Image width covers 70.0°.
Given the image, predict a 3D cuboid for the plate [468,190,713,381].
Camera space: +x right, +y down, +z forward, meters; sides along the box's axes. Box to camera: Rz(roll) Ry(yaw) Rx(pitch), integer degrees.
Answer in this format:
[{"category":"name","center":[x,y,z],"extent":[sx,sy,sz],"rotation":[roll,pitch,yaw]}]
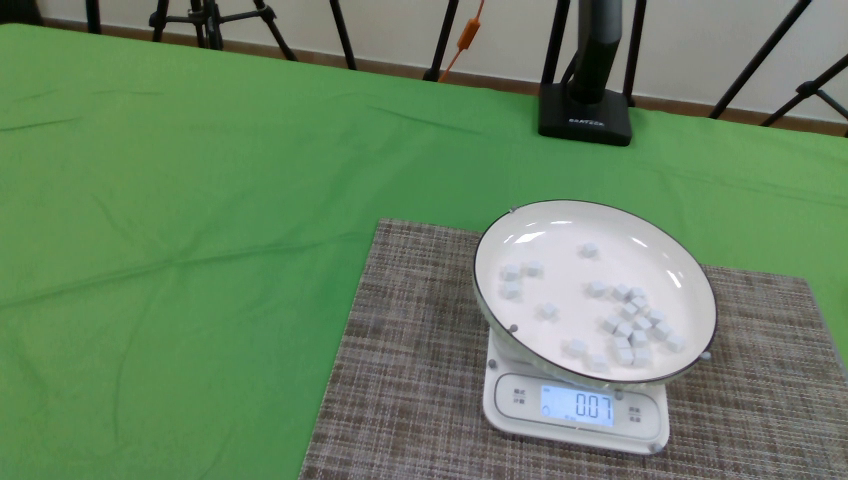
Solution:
[{"category":"plate","center":[0.140,0.036,0.530],"extent":[0.209,0.038,0.207],"rotation":[3,45,-3]}]

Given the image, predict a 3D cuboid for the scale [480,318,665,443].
[{"category":"scale","center":[0.130,0.075,0.537],"extent":[0.148,0.032,0.199],"rotation":[9,45,3]}]
